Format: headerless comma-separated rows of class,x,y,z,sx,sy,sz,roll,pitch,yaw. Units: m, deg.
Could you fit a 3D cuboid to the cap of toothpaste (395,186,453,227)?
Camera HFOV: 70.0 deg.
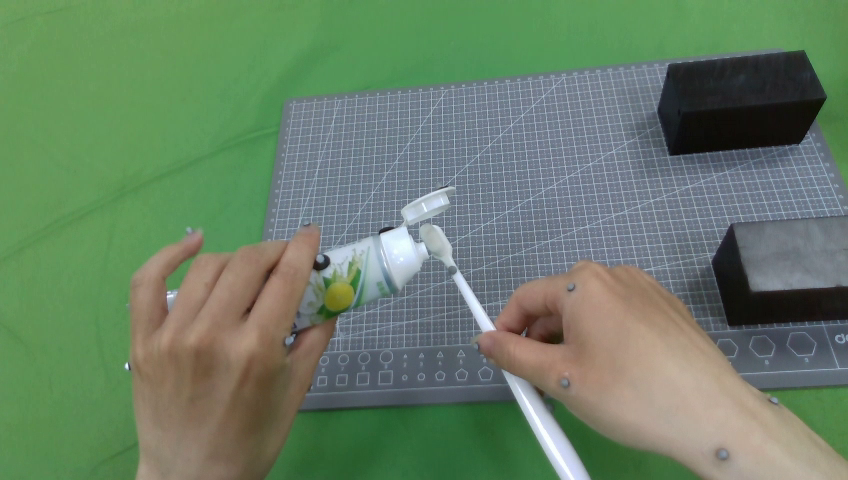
cap of toothpaste,0.001,-0.019,0.345,0.037,0.037,0.011,-26,84,-7

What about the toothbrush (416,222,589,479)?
toothbrush,0.041,0.061,0.339,0.014,0.017,0.180,-36,67,13

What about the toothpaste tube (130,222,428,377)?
toothpaste tube,-0.077,0.028,0.342,0.165,0.055,0.034,-20,17,-1
